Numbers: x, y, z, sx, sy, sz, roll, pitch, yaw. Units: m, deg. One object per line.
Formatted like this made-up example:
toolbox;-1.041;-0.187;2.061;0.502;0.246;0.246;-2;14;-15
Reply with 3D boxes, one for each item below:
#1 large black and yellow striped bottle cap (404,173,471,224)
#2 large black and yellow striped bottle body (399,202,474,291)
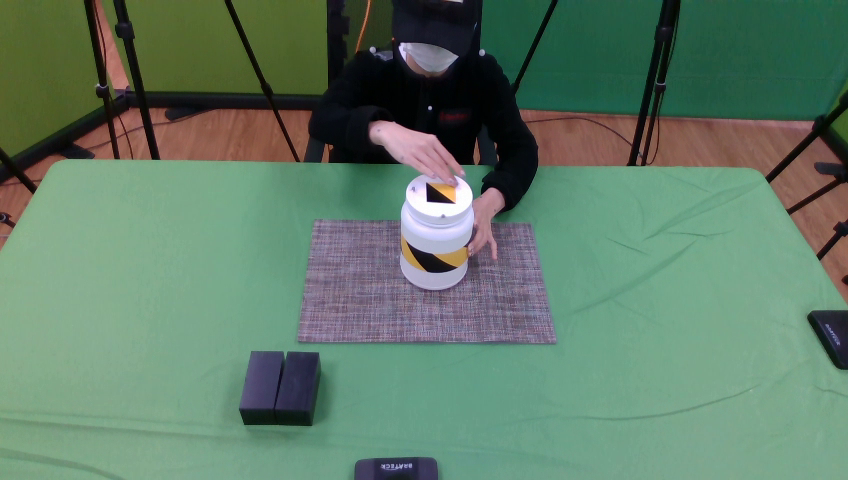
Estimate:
large black and yellow striped bottle cap;0.023;-0.073;1.032;0.115;0.019;0.114;3;46;-3
large black and yellow striped bottle body;0.020;-0.012;1.094;0.131;0.185;0.130;2;46;-2
